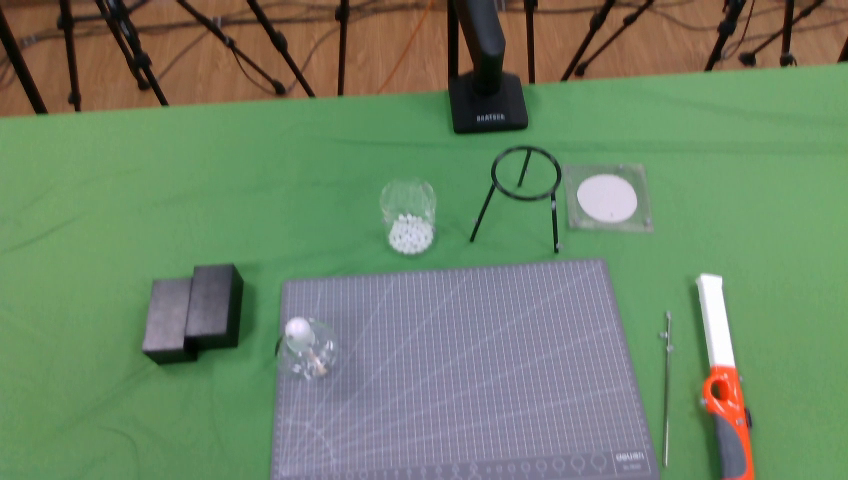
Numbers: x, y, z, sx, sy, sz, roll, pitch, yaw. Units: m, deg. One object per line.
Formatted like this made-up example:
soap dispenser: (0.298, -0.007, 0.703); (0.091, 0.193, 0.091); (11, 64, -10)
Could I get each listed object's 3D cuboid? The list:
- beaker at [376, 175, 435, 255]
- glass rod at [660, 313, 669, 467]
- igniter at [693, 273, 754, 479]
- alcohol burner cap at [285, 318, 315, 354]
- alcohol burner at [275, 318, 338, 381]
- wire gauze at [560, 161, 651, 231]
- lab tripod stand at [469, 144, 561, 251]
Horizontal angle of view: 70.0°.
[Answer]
beaker: (-0.020, -0.029, 0.830); (0.083, 0.101, 0.074); (38, 68, 19)
glass rod: (0.301, 0.181, 0.757); (0.008, 0.008, 0.198); (10, 61, 7)
igniter: (0.369, 0.167, 0.752); (0.057, 0.025, 0.274); (9, 60, -5)
alcohol burner cap: (-0.144, 0.109, 0.698); (0.034, 0.048, 0.033); (1, 62, -2)
alcohol burner: (-0.145, 0.126, 0.730); (0.078, 0.120, 0.077); (-1, 58, 2)
wire gauze: (0.269, -0.068, 0.901); (0.125, 0.011, 0.120); (1, 59, 4)
lab tripod stand: (0.129, -0.059, 0.825); (0.148, 0.132, 0.147); (-1, 59, 2)
